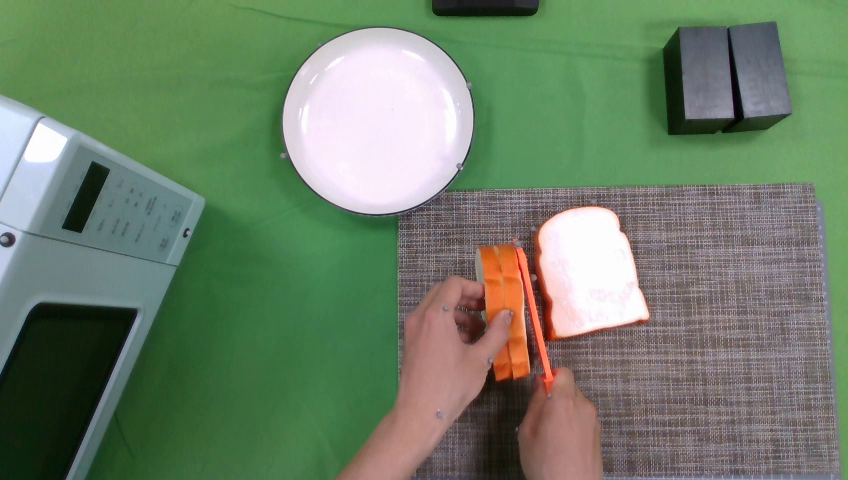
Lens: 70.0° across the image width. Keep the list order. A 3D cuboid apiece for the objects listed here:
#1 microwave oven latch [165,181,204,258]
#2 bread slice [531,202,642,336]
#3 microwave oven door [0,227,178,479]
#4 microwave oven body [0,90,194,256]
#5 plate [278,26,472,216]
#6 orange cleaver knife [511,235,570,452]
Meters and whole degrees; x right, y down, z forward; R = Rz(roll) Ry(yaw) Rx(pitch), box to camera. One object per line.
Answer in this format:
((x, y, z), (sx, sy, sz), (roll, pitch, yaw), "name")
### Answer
((-0.259, -0.023, 0.634), (0.030, 0.029, 0.079), (23, 85, 4), "microwave oven latch")
((0.170, 0.028, 0.642), (0.107, 0.018, 0.134), (-9, 92, -4), "bread slice")
((-0.346, 0.166, 0.512), (0.039, 0.244, 0.355), (21, 84, 5), "microwave oven door")
((-0.466, 0.075, 0.531), (0.326, 0.261, 0.441), (21, 85, 4), "microwave oven body")
((-0.051, -0.126, 0.659), (0.207, 0.039, 0.207), (0, 83, 1), "plate")
((0.112, 0.097, 0.594), (0.012, 0.077, 0.211), (-13, 90, 5), "orange cleaver knife")
